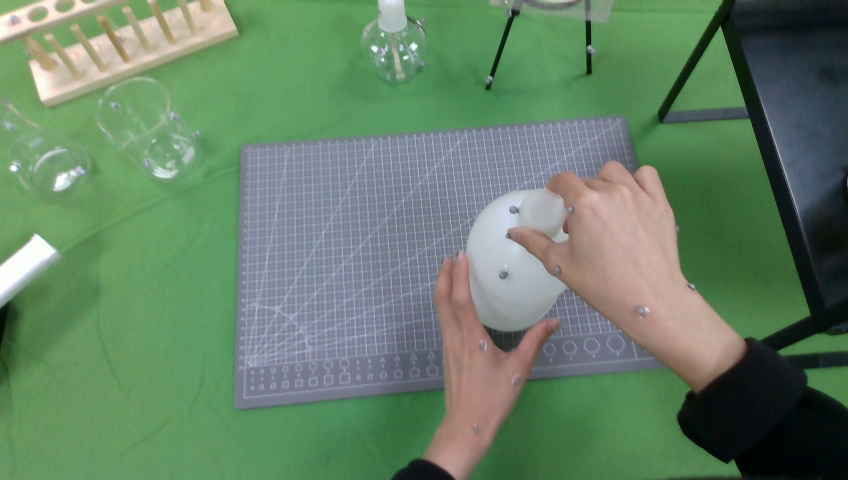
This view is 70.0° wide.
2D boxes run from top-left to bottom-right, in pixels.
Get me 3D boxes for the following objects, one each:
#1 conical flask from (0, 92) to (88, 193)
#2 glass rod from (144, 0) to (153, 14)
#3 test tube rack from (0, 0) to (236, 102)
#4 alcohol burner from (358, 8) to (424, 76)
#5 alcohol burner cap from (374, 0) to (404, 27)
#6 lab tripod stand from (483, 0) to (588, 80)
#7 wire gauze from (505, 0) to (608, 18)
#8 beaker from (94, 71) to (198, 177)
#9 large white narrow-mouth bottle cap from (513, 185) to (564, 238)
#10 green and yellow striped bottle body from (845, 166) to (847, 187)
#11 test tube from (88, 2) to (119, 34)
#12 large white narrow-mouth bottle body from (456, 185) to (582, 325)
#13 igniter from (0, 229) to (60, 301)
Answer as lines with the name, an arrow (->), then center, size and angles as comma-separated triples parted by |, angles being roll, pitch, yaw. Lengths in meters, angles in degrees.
conical flask -> -0.418, -0.107, 0.633 | 0.075, 0.122, 0.075 | 0, 68, 0
glass rod -> -0.339, -0.316, 0.664 | 0.008, 0.201, 0.008 | -3, 62, 6
test tube rack -> -0.358, -0.257, 0.712 | 0.242, 0.086, 0.066 | -25, 70, -10
alcohol burner -> -0.039, -0.246, 0.695 | 0.078, 0.120, 0.077 | 1, 66, -1
alcohol burner cap -> -0.040, -0.261, 0.661 | 0.034, 0.048, 0.033 | 0, 67, 0
lab tripod stand -> 0.131, -0.259, 0.689 | 0.148, 0.132, 0.147 | 1, 67, -1
wire gauze -> 0.138, -0.287, 0.628 | 0.121, 0.011, 0.124 | 15, 70, 4
beaker -> -0.293, -0.117, 0.651 | 0.074, 0.101, 0.083 | 9, 69, 4
large white narrow-mouth bottle cap -> 0.087, -0.021, 0.455 | 0.038, 0.024, 0.037 | 1, 70, -2
green and yellow striped bottle body -> 0.366, -0.066, 0.428 | 0.063, 0.120, 0.062 | 0, 68, 0
test tube -> -0.381, -0.285, 0.670 | 0.017, 0.151, 0.017 | -2, 65, 4
large white narrow-mouth bottle body -> 0.085, 0.008, 0.537 | 0.102, 0.196, 0.101 | 1, 70, -2
igniter -> -0.459, 0.096, 0.554 | 0.057, 0.025, 0.276 | 37, 70, 12
